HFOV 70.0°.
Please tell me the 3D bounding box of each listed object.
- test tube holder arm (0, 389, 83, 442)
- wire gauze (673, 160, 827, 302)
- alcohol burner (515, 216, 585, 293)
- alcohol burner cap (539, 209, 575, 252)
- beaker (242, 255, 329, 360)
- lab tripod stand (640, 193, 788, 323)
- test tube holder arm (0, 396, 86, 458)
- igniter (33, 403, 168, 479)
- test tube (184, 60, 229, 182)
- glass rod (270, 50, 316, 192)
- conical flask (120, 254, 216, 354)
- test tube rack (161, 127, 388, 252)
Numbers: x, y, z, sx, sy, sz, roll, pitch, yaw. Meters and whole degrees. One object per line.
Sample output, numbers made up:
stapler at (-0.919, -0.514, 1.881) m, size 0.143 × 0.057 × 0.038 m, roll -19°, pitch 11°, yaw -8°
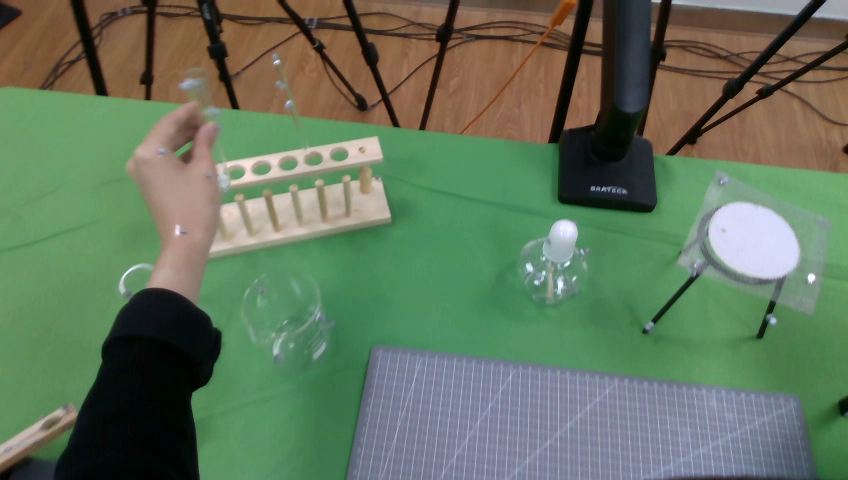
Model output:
test tube holder arm at (-0.391, 0.190, 0.533) m, size 0.178 × 0.015 × 0.013 m, roll -33°, pitch 63°, yaw -20°
wire gauze at (0.316, -0.011, 0.579) m, size 0.121 × 0.011 × 0.124 m, roll 26°, pitch 62°, yaw 13°
alcohol burner at (0.140, 0.008, 0.657) m, size 0.078 × 0.120 × 0.077 m, roll 1°, pitch 57°, yaw -2°
alcohol burner cap at (0.139, -0.013, 0.626) m, size 0.034 × 0.048 × 0.033 m, roll 1°, pitch 57°, yaw -1°
beaker at (-0.138, 0.076, 0.618) m, size 0.074 × 0.101 × 0.083 m, roll 20°, pitch 60°, yaw 12°
lab tripod stand at (0.308, 0.025, 0.636) m, size 0.148 × 0.132 × 0.147 m, roll 1°, pitch 57°, yaw -2°
test tube holder arm at (-0.351, 0.171, 0.546) m, size 0.088 × 0.015 × 0.010 m, roll -31°, pitch 63°, yaw -19°
igniter at (-0.351, 0.231, 0.504) m, size 0.276 × 0.025 × 0.057 m, roll -33°, pitch 66°, yaw -23°
test tube at (-0.195, -0.101, 0.550) m, size 0.017 × 0.151 × 0.017 m, roll 4°, pitch 58°, yaw -6°
glass rod at (-0.140, -0.122, 0.670) m, size 0.008 × 0.201 × 0.008 m, roll -3°, pitch 51°, yaw 4°
conical flask at (-0.263, 0.060, 0.612) m, size 0.075 × 0.123 × 0.074 m, roll 0°, pitch 57°, yaw 0°
test tube rack at (-0.168, -0.059, 0.709) m, size 0.243 × 0.086 × 0.066 m, roll -12°, pitch 59°, yaw -8°
